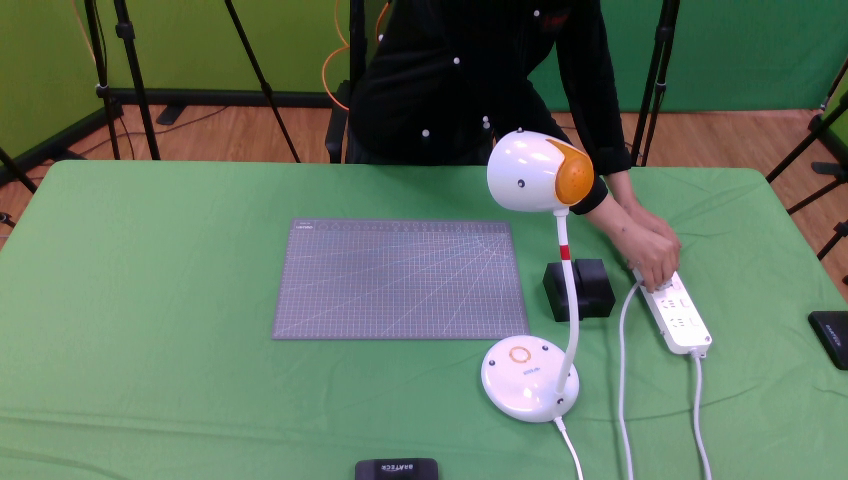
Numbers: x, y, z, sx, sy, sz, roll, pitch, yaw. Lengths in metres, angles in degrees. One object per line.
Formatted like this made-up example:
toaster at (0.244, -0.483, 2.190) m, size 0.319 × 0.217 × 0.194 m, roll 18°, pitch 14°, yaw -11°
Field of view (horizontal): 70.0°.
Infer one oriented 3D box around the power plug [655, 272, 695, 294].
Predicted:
power plug at (0.450, 0.087, 1.096) m, size 0.035 × 0.053 × 0.072 m, roll -33°, pitch 56°, yaw -2°

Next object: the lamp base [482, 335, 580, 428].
lamp base at (0.185, 0.178, 0.928) m, size 0.161 × 0.181 × 0.178 m, roll -22°, pitch 53°, yaw -23°

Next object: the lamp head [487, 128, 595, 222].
lamp head at (0.160, -0.084, 0.792) m, size 0.112 × 0.113 × 0.122 m, roll -24°, pitch 28°, yaw -25°

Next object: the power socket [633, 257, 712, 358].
power socket at (0.451, 0.115, 1.113) m, size 0.072 × 0.033 × 0.225 m, roll -3°, pitch 46°, yaw -5°
